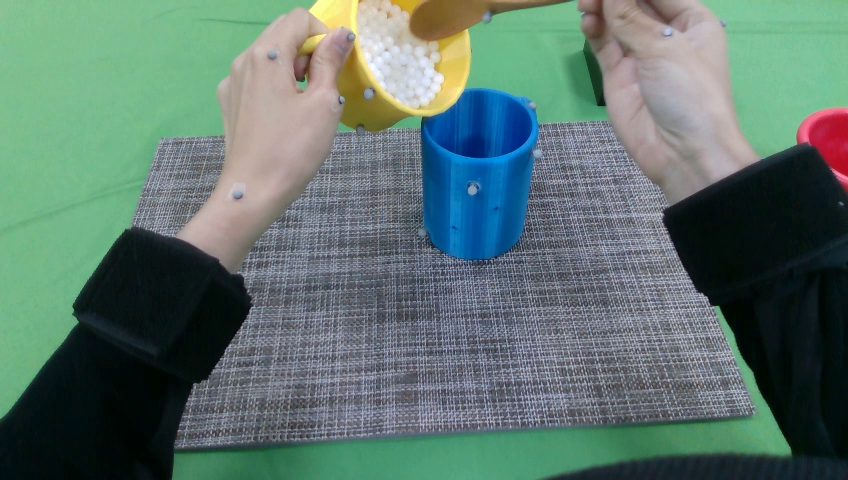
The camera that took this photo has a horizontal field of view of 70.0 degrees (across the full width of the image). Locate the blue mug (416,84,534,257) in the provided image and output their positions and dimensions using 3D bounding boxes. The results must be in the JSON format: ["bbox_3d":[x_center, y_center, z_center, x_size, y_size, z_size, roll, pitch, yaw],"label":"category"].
[{"bbox_3d":[0.047,-0.060,0.467,0.081,0.107,0.116,34,58,25],"label":"blue mug"}]

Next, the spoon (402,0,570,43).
[{"bbox_3d":[0.066,-0.145,0.357,0.192,0.042,0.021,2,84,38],"label":"spoon"}]

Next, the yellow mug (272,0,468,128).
[{"bbox_3d":[-0.039,-0.127,0.403,0.131,0.100,0.063,-18,10,-38],"label":"yellow mug"}]
